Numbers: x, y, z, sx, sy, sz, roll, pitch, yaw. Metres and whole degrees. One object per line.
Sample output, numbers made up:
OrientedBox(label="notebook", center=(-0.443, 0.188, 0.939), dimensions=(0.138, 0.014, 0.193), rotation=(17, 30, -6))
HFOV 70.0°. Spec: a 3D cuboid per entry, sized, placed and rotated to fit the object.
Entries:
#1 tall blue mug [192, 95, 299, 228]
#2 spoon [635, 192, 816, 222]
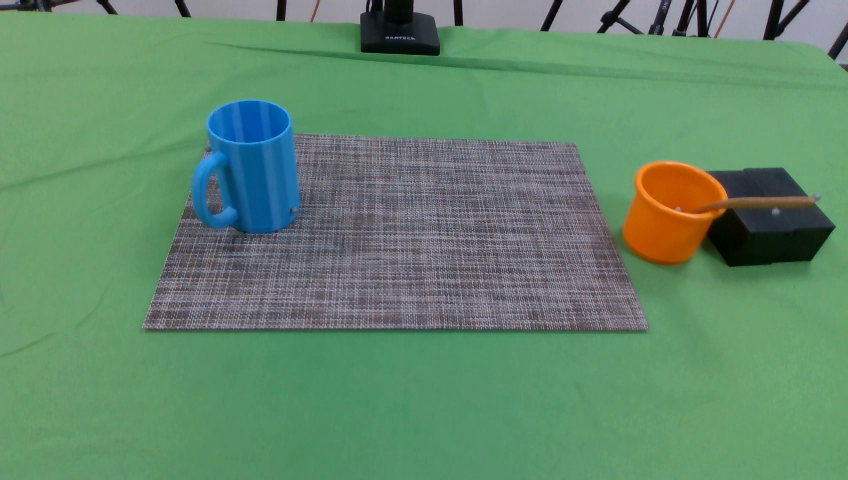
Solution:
OrientedBox(label="tall blue mug", center=(-0.167, -0.066, 0.586), dimensions=(0.078, 0.109, 0.106), rotation=(7, 44, 0))
OrientedBox(label="spoon", center=(0.279, -0.034, 0.584), dimensions=(0.042, 0.193, 0.021), rotation=(-15, 92, -23))
